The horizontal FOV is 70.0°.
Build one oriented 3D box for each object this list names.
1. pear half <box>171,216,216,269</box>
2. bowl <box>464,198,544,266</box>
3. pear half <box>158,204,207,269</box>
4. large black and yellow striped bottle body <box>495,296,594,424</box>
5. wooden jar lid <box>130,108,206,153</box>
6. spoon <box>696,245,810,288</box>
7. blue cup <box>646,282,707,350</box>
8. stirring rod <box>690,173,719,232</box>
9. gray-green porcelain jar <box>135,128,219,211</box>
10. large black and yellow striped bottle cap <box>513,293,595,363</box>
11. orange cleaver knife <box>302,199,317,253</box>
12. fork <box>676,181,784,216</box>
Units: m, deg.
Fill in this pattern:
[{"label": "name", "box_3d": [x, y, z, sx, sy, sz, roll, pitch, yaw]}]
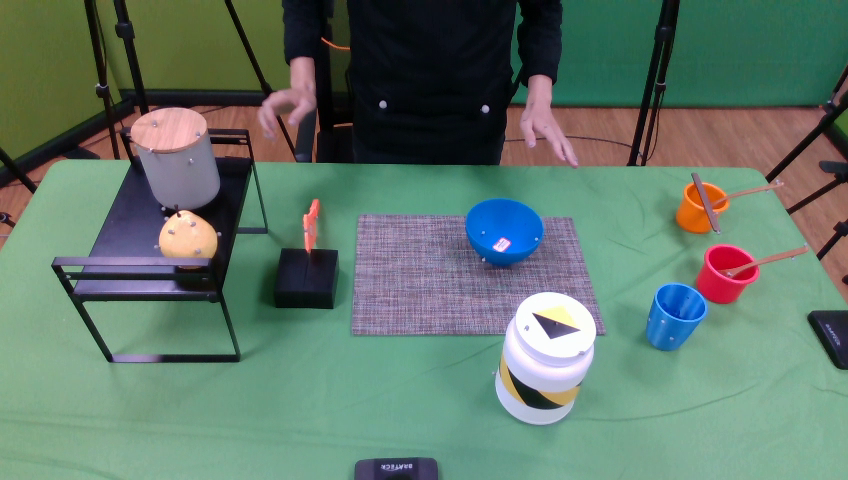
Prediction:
[{"label": "pear half", "box_3d": [-0.323, 0.007, 0.867, 0.031, 0.088, 0.070, 25, 46, 20]}, {"label": "bowl", "box_3d": [0.149, -0.004, 1.168, 0.151, 0.077, 0.150, 2, 46, -2]}, {"label": "pear half", "box_3d": [-0.352, -0.015, 0.873, 0.056, 0.110, 0.076, 25, 45, 19]}, {"label": "large black and yellow striped bottle body", "box_3d": [0.183, 0.182, 0.923, 0.131, 0.185, 0.130, 2, 46, -2]}, {"label": "wooden jar lid", "box_3d": [-0.384, -0.162, 0.914, 0.108, 0.021, 0.107, 4, 46, -4]}, {"label": "spoon", "box_3d": [0.601, 0.047, 1.114, 0.193, 0.022, 0.041, -27, 36, 33]}, {"label": "blue cup", "box_3d": [0.425, 0.136, 1.042, 0.092, 0.101, 0.092, 1, 44, -1]}, {"label": "stirring rod", "box_3d": [0.566, -0.080, 1.225, 0.014, 0.006, 0.175, 2, 46, 2]}, {"label": "gray-green porcelain jar", "box_3d": [-0.386, -0.118, 0.959, 0.106, 0.127, 0.105, 2, 46, -2]}, {"label": "large black and yellow striped bottle cap", "box_3d": [0.186, 0.123, 0.863, 0.115, 0.019, 0.114, 3, 45, -3]}, {"label": "orange cleaver knife", "box_3d": [-0.219, -0.031, 1.168, 0.012, 0.077, 0.210, -5, 17, -3]}, {"label": "fork", "box_3d": [0.618, -0.084, 1.235, 0.207, 0.019, 0.028, -23, 21, 38]}]
